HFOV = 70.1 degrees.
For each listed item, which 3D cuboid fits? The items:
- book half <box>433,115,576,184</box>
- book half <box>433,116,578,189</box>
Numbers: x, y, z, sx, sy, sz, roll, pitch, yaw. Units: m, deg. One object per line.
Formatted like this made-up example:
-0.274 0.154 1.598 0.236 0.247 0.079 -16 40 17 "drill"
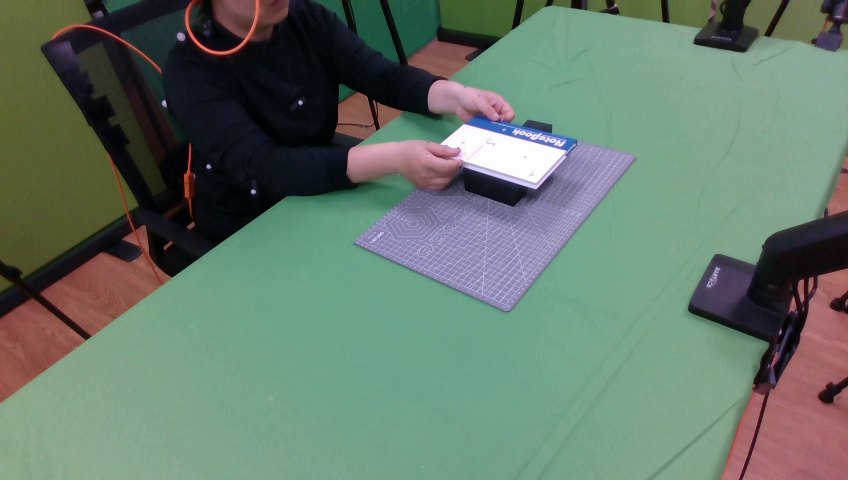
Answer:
0.138 -0.163 1.054 0.208 0.007 0.143 22 48 30 "book half"
0.141 -0.160 1.061 0.208 0.016 0.149 22 48 30 "book half"
